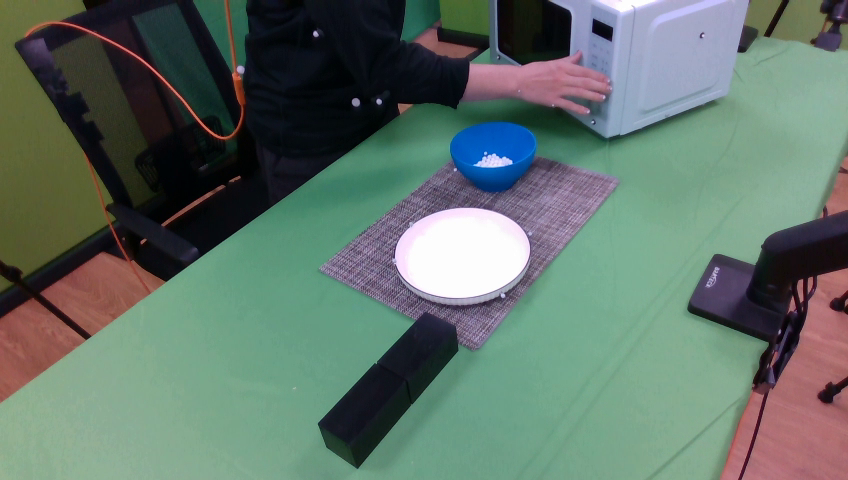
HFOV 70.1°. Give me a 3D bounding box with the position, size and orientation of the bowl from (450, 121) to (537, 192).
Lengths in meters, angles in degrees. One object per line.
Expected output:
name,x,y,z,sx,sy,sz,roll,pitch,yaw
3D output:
bowl,0.123,-0.138,1.064,0.151,0.077,0.150,-4,40,4

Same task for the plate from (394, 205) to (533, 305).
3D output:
plate,0.059,0.025,0.915,0.207,0.039,0.206,-4,41,4

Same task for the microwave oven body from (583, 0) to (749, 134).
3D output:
microwave oven body,0.382,-0.445,1.246,0.327,0.261,0.437,-22,42,-16

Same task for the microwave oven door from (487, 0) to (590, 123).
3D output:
microwave oven door,0.232,-0.420,1.230,0.039,0.245,0.352,-22,43,-16

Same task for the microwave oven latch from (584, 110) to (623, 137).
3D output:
microwave oven latch,0.337,-0.222,1.142,0.030,0.029,0.078,-21,42,-14
